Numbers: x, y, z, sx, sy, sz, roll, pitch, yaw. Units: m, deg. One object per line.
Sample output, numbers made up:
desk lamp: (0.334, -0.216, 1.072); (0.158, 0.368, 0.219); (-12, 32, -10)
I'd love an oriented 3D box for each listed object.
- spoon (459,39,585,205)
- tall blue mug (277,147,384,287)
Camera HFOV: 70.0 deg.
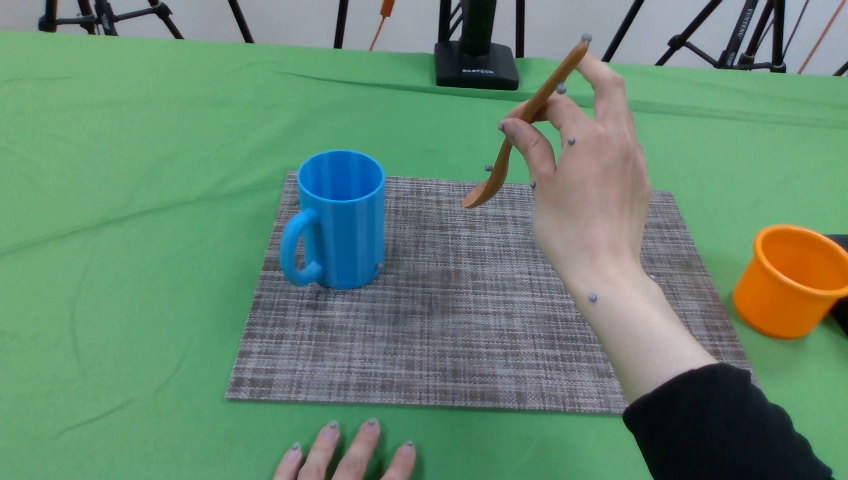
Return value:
spoon: (0.064, -0.076, 0.439); (0.021, 0.194, 0.041); (35, 61, 4)
tall blue mug: (-0.080, -0.010, 0.549); (0.078, 0.109, 0.106); (9, 44, 3)
